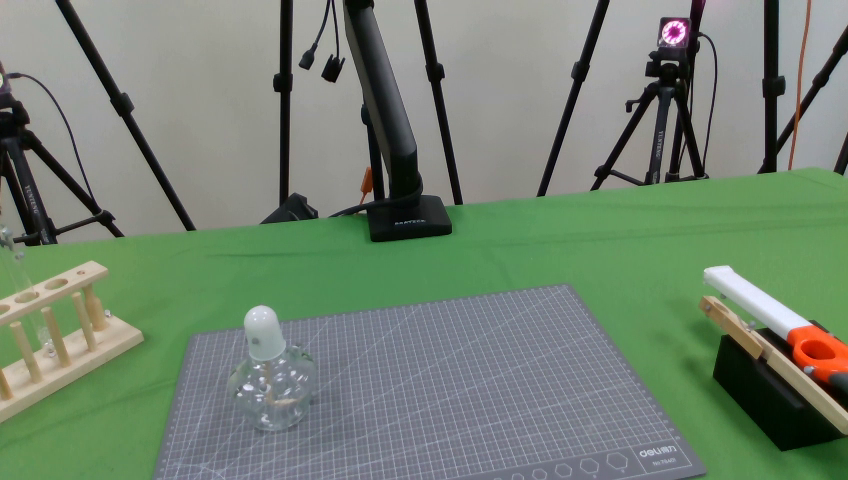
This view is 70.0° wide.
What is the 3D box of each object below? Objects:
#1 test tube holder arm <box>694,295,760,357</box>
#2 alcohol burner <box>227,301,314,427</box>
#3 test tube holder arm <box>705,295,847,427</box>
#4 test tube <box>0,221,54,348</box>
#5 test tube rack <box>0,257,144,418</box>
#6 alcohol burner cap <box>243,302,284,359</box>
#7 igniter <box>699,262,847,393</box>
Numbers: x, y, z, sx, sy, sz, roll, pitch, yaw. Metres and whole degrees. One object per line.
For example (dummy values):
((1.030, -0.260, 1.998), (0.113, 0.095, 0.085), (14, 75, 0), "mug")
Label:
((0.287, 0.080, 0.572), (0.010, 0.015, 0.087), (-6, 28, -13), "test tube holder arm")
((-0.140, 0.107, 0.546), (0.078, 0.120, 0.077), (-1, 27, 1), "alcohol burner")
((0.305, 0.099, 0.535), (0.013, 0.015, 0.176), (-7, 28, -15), "test tube holder arm")
((-0.399, 0.048, 0.604), (0.017, 0.151, 0.017), (-1, 31, 1), "test tube")
((-0.412, 0.112, 0.591), (0.066, 0.086, 0.242), (18, 34, 32), "test tube rack")
((-0.142, 0.076, 0.528), (0.034, 0.048, 0.033), (-2, 33, 2), "alcohol burner cap")
((0.343, 0.088, 0.546), (0.057, 0.025, 0.274), (-8, 26, -9), "igniter")
